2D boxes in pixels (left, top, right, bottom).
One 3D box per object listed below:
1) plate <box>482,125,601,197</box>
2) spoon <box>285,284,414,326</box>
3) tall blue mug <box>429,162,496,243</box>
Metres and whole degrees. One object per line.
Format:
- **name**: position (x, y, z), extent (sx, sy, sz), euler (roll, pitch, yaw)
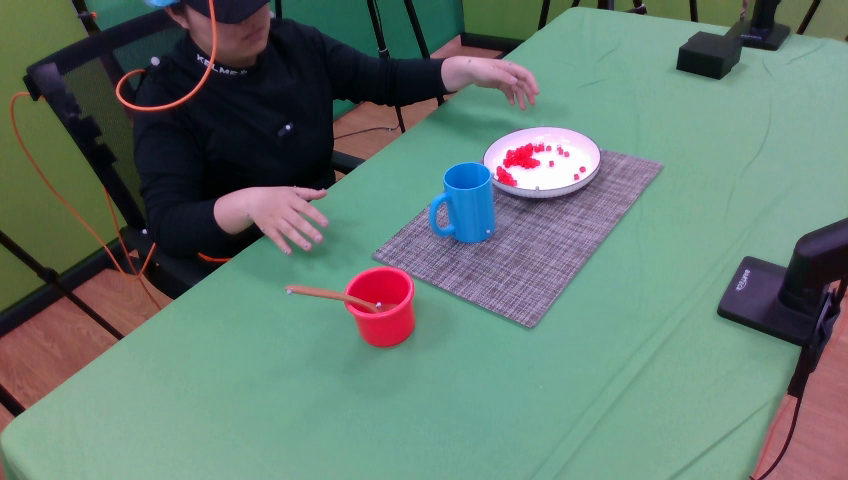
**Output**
- **plate**: position (0.210, -0.138, 1.091), extent (0.207, 0.039, 0.206), euler (-5, 40, 5)
- **spoon**: position (-0.096, 0.083, 0.812), extent (0.195, 0.021, 0.041), euler (22, 31, -34)
- **tall blue mug**: position (0.066, -0.051, 0.960), extent (0.077, 0.108, 0.107), euler (17, 47, 27)
